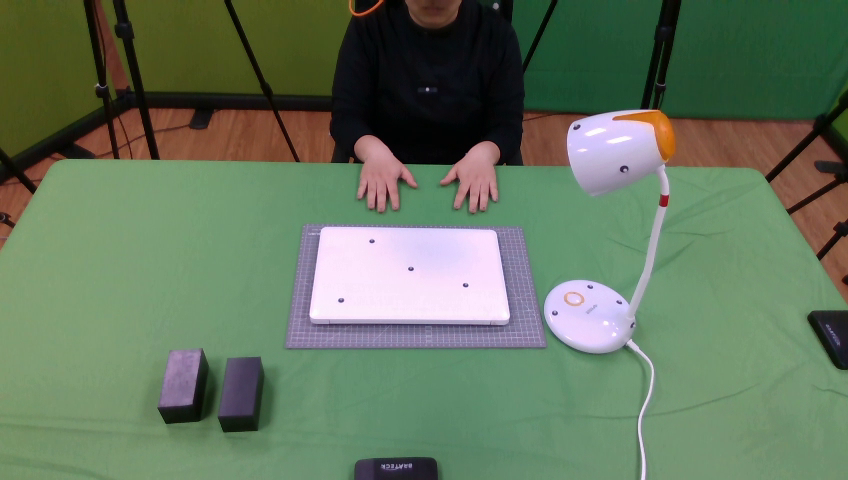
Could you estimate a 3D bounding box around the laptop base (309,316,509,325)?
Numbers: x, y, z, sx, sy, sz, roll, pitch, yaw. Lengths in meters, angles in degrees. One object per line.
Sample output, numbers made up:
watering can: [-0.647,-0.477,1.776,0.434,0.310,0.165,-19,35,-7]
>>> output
laptop base: [-0.028,0.066,1.135,0.355,0.023,0.234,1,43,-4]

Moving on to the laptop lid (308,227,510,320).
laptop lid: [-0.027,0.056,1.128,0.357,0.013,0.240,2,44,-3]

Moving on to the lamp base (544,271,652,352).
lamp base: [0.310,0.086,1.029,0.178,0.181,0.160,32,52,21]

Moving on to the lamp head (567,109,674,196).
lamp head: [0.272,-0.123,0.818,0.122,0.113,0.112,-9,35,37]
